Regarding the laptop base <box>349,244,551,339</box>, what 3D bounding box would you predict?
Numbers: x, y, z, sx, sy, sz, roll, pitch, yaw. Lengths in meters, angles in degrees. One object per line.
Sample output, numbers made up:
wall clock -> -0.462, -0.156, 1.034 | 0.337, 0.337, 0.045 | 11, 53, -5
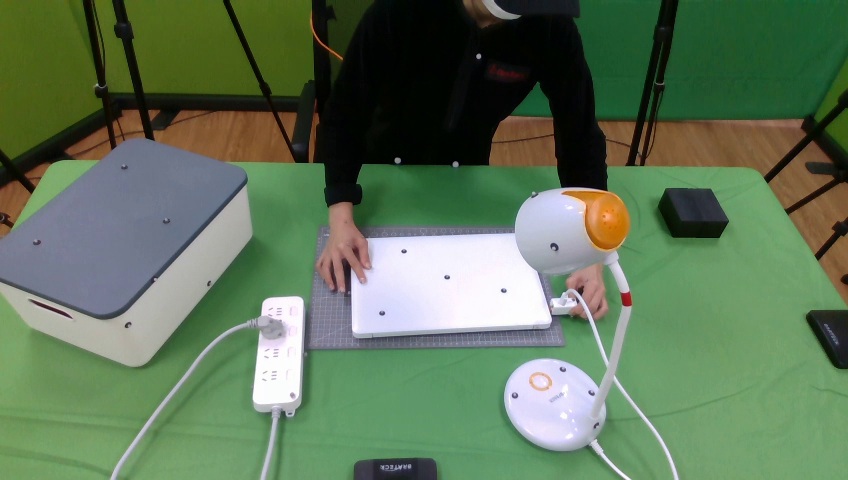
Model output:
laptop base -> 0.040, 0.080, 1.125 | 0.355, 0.023, 0.234 | -2, 43, -6

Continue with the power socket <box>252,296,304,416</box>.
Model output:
power socket -> -0.237, 0.181, 0.998 | 0.072, 0.033, 0.225 | -3, 47, -5

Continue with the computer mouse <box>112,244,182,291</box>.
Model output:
computer mouse -> -0.493, 0.046, 1.078 | 0.117, 0.041, 0.062 | 24, 41, 13

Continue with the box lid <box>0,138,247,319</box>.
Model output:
box lid -> -0.493, -0.038, 0.994 | 0.263, 0.015, 0.370 | 17, 46, 12

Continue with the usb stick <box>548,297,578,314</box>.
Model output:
usb stick -> 0.243, 0.118, 1.087 | 0.059, 0.027, 0.021 | -4, 50, -4

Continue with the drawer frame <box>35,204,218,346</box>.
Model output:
drawer frame -> -0.505, 0.054, 1.052 | 0.201, 0.083, 0.212 | 14, 52, 12

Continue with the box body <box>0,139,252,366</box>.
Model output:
box body -> -0.496, 0.013, 1.049 | 0.254, 0.161, 0.362 | 17, 47, 12

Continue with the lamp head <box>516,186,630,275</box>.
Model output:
lamp head -> 0.188, -0.013, 0.728 | 0.112, 0.112, 0.122 | -25, 9, -25

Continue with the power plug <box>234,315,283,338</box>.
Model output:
power plug -> -0.269, 0.143, 1.000 | 0.072, 0.053, 0.035 | 4, 47, 2

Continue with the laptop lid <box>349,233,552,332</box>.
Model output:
laptop lid -> 0.040, 0.071, 1.120 | 0.357, 0.013, 0.240 | -1, 44, -5

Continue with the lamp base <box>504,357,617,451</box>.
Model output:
lamp base -> 0.220, 0.211, 0.903 | 0.160, 0.181, 0.178 | -33, 59, -30

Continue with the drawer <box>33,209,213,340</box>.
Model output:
drawer -> -0.509, 0.054, 1.046 | 0.194, 0.073, 0.211 | 15, 43, 11
